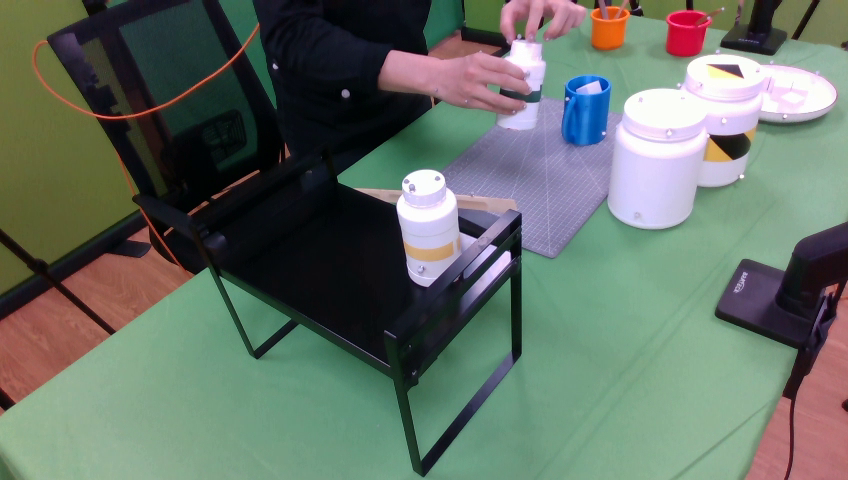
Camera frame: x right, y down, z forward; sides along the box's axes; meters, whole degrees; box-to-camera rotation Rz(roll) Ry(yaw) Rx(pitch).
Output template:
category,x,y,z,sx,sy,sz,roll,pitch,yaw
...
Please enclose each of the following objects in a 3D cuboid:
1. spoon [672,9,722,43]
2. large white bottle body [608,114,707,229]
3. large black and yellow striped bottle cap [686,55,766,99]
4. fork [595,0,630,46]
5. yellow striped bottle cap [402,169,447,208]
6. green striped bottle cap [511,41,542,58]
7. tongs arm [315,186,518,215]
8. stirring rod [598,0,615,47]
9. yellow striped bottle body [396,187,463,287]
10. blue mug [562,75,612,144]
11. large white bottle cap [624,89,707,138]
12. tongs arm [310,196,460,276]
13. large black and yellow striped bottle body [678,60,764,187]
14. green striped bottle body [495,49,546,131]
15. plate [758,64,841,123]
category,x,y,z,sx,sy,sz,roll,pitch,yaw
spoon,0.606,-0.476,1.345,0.042,0.021,0.193,-6,-3,-2
large white bottle body,0.361,-0.124,0.942,0.130,0.185,0.130,-4,41,4
large black and yellow striped bottle cap,0.474,-0.258,0.952,0.115,0.019,0.114,-5,41,5
fork,0.479,-0.556,1.452,0.028,0.019,0.207,41,103,40
yellow striped bottle cap,0.000,-0.052,0.605,0.044,0.019,0.044,-5,43,5
green striped bottle cap,0.149,-0.275,0.874,0.044,0.020,0.044,3,27,-1
tongs arm,-0.028,-0.060,0.988,0.382,0.027,0.051,9,45,36
stirring rod,0.437,-0.551,1.462,0.014,0.006,0.175,-11,83,1
yellow striped bottle body,0.006,-0.013,0.638,0.063,0.121,0.062,-5,41,5
blue mug,0.298,-0.239,1.143,0.117,0.106,0.081,-37,48,-29
large white bottle cap,0.352,-0.187,0.886,0.115,0.018,0.114,-4,41,4
tongs arm,-0.078,-0.012,0.944,0.028,0.028,0.384,-43,39,-22
large black and yellow striped bottle body,0.482,-0.196,1.008,0.131,0.185,0.130,-4,41,4
green striped bottle body,0.144,-0.228,0.897,0.063,0.119,0.063,4,28,-2
plate,0.694,-0.283,1.189,0.207,0.039,0.206,-4,40,4
